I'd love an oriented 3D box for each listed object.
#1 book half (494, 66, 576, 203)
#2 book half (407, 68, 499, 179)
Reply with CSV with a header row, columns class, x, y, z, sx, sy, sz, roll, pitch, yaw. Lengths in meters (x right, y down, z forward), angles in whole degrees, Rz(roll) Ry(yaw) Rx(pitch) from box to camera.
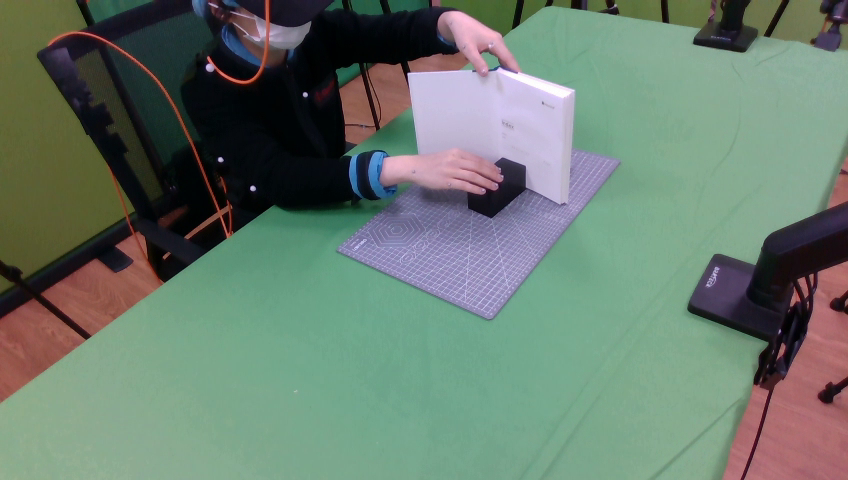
class,x,y,z,sx,sy,sz,roll,pitch,yaw
book half,0.179,-0.168,0.989,0.016,0.211,0.147,-36,48,-28
book half,0.054,-0.192,1.035,0.143,0.211,0.007,-1,42,8
